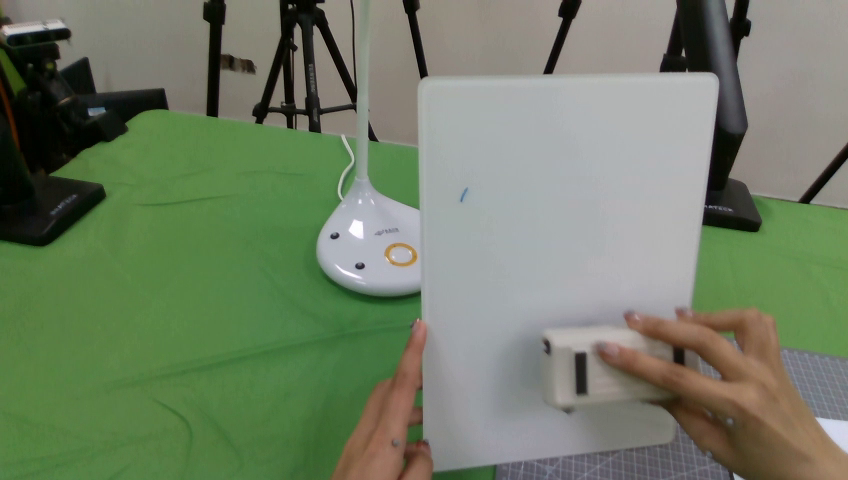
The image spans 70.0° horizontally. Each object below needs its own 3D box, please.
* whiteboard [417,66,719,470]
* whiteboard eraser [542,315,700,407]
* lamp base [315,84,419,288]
[{"bbox_3d":[0.094,0.011,0.515,0.218,0.307,0.143,-3,18,-9],"label":"whiteboard"},{"bbox_3d":[0.142,0.087,0.442,0.113,0.055,0.041,-4,7,-10],"label":"whiteboard eraser"},{"bbox_3d":[-0.048,-0.066,0.661,0.161,0.182,0.177,-21,41,-30],"label":"lamp base"}]
